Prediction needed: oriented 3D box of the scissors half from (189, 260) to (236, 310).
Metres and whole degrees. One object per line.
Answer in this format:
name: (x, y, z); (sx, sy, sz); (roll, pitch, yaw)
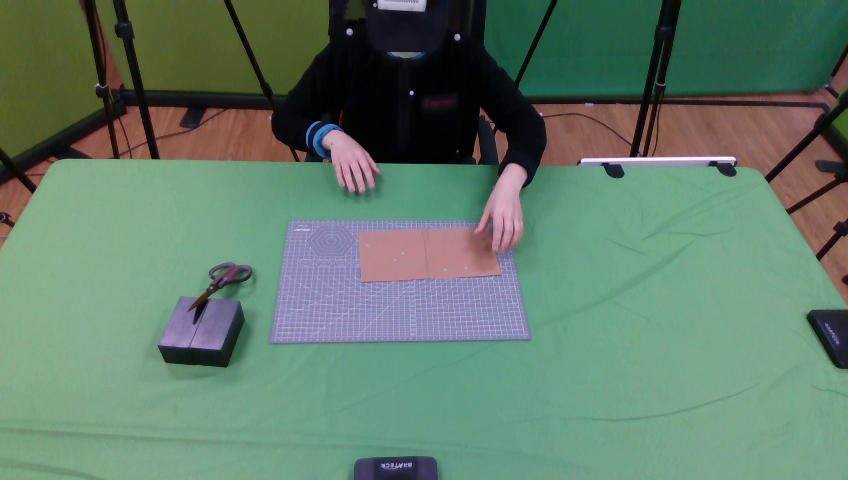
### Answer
scissors half: (-0.372, 0.077, 1.056); (0.040, 0.013, 0.174); (13, 25, -4)

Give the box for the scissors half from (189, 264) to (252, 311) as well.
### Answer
scissors half: (-0.353, 0.082, 1.055); (0.040, 0.013, 0.175); (15, 25, 14)

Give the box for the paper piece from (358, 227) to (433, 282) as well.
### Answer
paper piece: (-0.058, 0.025, 1.173); (0.136, 0.004, 0.134); (-3, 48, -6)

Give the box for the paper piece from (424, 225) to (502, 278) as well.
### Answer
paper piece: (0.075, 0.020, 1.190); (0.138, 0.009, 0.135); (-2, 50, -7)
